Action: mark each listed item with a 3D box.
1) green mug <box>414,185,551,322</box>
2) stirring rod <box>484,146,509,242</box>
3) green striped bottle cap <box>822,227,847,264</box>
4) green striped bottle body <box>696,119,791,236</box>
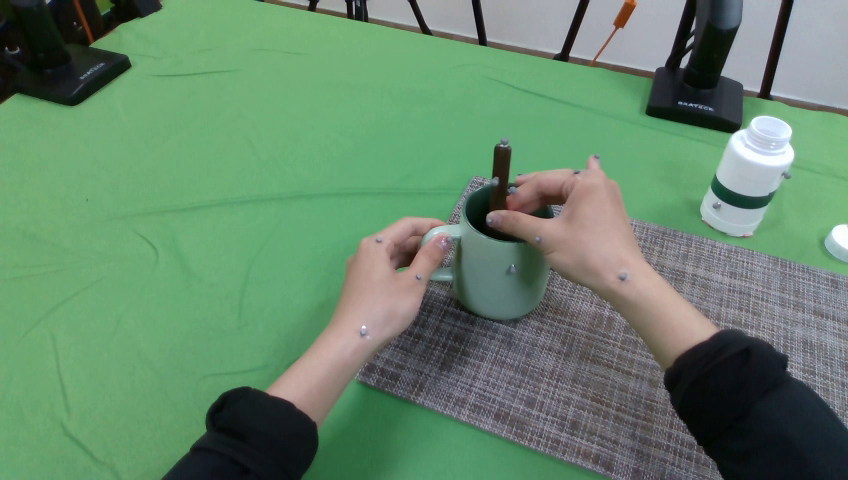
[{"bbox_3d":[0.053,0.015,0.553,0.125,0.106,0.091,-6,46,-6],"label":"green mug"},{"bbox_3d":[0.059,-0.009,0.514,0.014,0.178,0.006,12,48,13],"label":"stirring rod"},{"bbox_3d":[0.446,0.006,0.636,0.044,0.020,0.044,2,42,-1],"label":"green striped bottle cap"},{"bbox_3d":[0.335,-0.066,0.633,0.063,0.120,0.062,1,45,0],"label":"green striped bottle body"}]
